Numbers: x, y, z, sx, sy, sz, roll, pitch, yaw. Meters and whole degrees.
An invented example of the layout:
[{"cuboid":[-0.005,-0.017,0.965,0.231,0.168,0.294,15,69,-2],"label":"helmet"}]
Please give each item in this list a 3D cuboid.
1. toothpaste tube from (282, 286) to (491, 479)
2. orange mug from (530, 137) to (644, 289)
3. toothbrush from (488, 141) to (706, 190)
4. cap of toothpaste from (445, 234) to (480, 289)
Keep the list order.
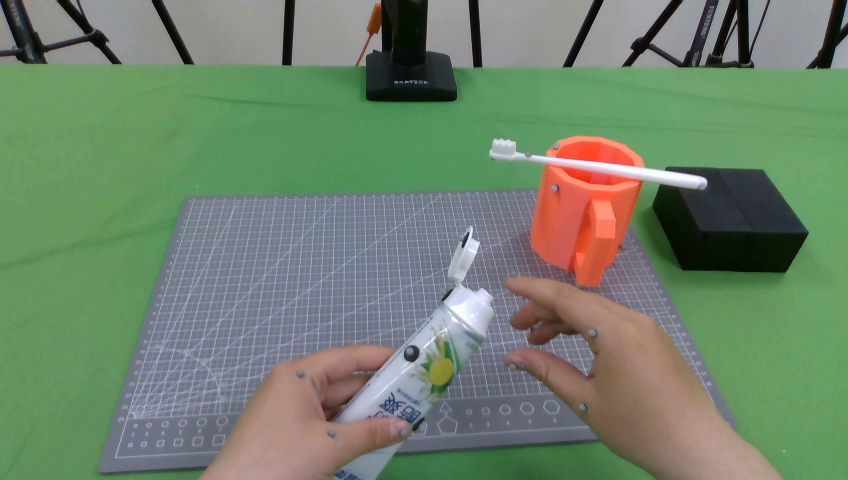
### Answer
[{"cuboid":[-0.016,0.094,0.371,0.055,0.165,0.034,39,1,-19],"label":"toothpaste tube"},{"cuboid":[0.147,-0.021,0.546,0.083,0.101,0.125,4,38,1],"label":"orange mug"},{"cuboid":[0.145,-0.063,0.514,0.181,0.017,0.014,11,34,8],"label":"toothbrush"},{"cuboid":[0.025,0.013,0.371,0.011,0.037,0.037,26,44,4],"label":"cap of toothpaste"}]
